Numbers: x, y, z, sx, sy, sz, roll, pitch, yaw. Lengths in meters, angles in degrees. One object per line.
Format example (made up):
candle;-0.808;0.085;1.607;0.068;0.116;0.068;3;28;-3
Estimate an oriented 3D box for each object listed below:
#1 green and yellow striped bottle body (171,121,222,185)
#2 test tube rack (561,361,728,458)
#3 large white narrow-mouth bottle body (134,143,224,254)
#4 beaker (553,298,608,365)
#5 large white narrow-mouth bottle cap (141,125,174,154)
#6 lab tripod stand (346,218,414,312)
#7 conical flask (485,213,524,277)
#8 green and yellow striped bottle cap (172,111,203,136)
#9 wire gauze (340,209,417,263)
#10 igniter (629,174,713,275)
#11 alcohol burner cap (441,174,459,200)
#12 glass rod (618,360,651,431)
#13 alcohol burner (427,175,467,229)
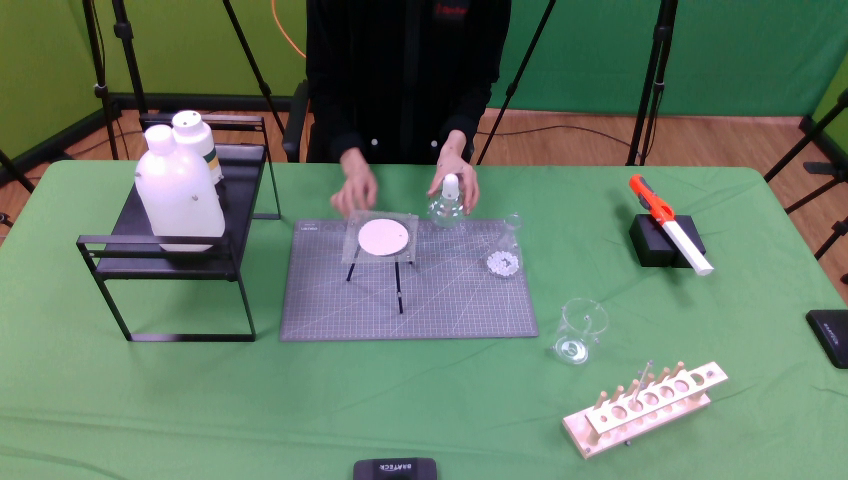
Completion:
green and yellow striped bottle body;-0.375;-0.149;0.995;0.063;0.120;0.063;2;46;-2
test tube rack;0.341;0.248;0.940;0.243;0.085;0.066;-15;49;-18
large white narrow-mouth bottle body;-0.358;-0.075;0.875;0.102;0.195;0.101;1;48;-1
beaker;0.260;0.154;1.015;0.073;0.101;0.084;37;54;27
large white narrow-mouth bottle cap;-0.356;-0.134;0.810;0.038;0.024;0.037;2;48;-2
lab tripod stand;-0.070;0.037;1.075;0.148;0.132;0.147;1;48;-1
conical flask;0.157;0.007;1.129;0.075;0.122;0.075;2;46;-2
green and yellow striped bottle cap;-0.374;-0.185;0.958;0.045;0.020;0.045;4;46;-4
wire gauze;-0.074;-0.007;1.023;0.121;0.011;0.124;3;46;0
igniter;0.481;-0.040;1.202;0.057;0.025;0.274;-2;46;-21
alcohol burner cap;0.048;-0.099;1.113;0.034;0.048;0.033;-2;49;2
glass rod;0.298;0.227;0.865;0.008;0.201;0.008;-1;48;2
alcohol burner;0.045;-0.077;1.142;0.078;0.119;0.077;3;50;-3
